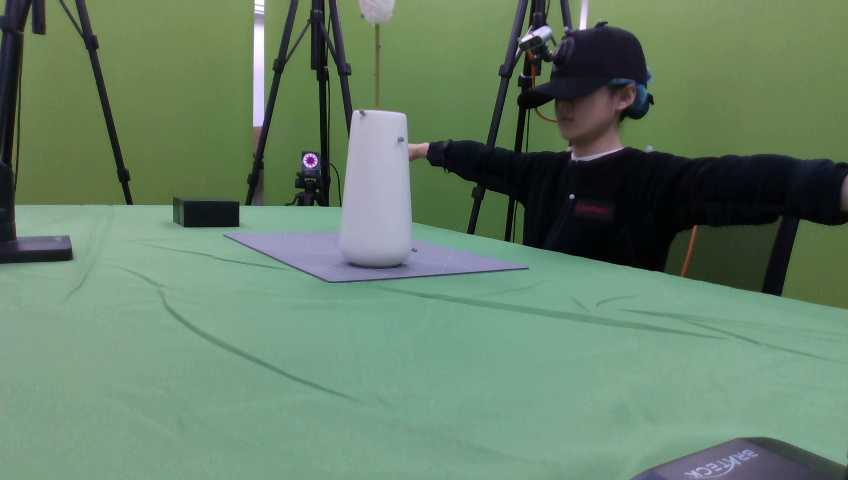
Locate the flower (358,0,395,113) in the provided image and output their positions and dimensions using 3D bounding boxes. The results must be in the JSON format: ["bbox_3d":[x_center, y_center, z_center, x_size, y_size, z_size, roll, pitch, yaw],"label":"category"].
[{"bbox_3d":[-0.058,-0.143,0.761,0.044,0.361,0.038,13,27,25],"label":"flower"}]

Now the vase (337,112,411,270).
[{"bbox_3d":[-0.064,-0.064,0.790,0.098,0.200,0.098,2,7,0],"label":"vase"}]
